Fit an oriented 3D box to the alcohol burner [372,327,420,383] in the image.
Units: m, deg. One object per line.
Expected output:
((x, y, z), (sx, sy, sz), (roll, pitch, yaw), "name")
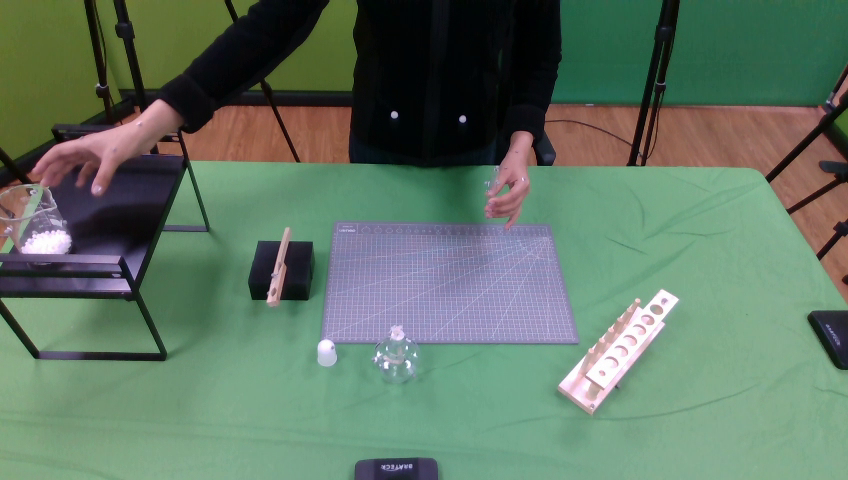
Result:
((-0.044, 0.175, 0.961), (0.078, 0.120, 0.077), (1, 47, -1), "alcohol burner")

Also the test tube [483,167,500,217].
((0.117, -0.081, 1.062), (0.017, 0.151, 0.017), (0, 63, 0), "test tube")

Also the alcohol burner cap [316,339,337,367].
((-0.161, 0.182, 0.995), (0.034, 0.048, 0.033), (2, 47, -2), "alcohol burner cap")

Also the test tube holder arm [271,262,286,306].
((-0.249, 0.074, 1.039), (0.010, 0.015, 0.087), (-7, 46, 7), "test tube holder arm")

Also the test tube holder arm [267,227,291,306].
((-0.255, 0.042, 1.070), (0.013, 0.015, 0.177), (-7, 46, 7), "test tube holder arm")

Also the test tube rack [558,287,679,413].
((0.326, 0.170, 1.009), (0.066, 0.085, 0.242), (36, 54, 26), "test tube rack")

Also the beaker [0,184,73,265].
((-0.556, -0.019, 0.871), (0.084, 0.101, 0.073), (3, 47, -2), "beaker")
